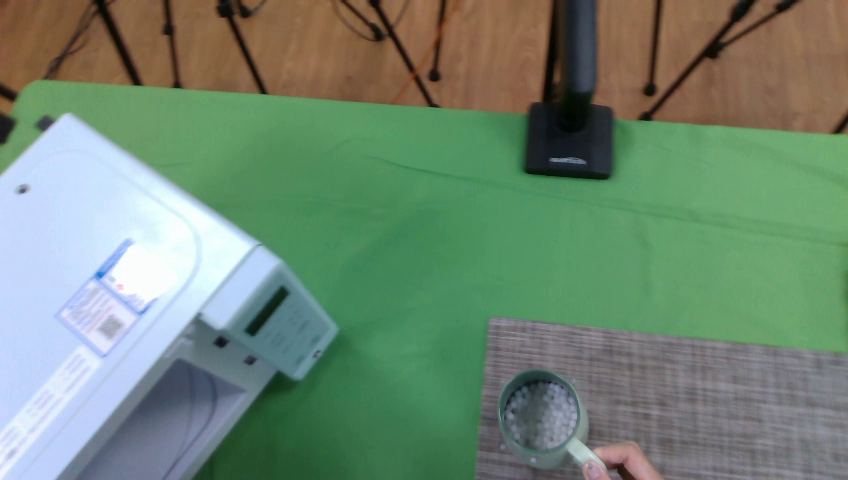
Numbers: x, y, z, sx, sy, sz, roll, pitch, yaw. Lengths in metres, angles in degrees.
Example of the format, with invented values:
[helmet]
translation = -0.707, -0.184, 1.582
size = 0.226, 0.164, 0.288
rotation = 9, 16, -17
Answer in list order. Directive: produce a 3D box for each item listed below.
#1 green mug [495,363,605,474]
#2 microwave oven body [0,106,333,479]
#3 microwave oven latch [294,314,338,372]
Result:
[green mug]
translation = 0.130, 0.185, 0.612
size = 0.124, 0.106, 0.092
rotation = 40, 81, 26
[microwave oven body]
translation = -0.370, 0.142, 0.642
size = 0.324, 0.262, 0.440
rotation = 32, 74, 16
[microwave oven latch]
translation = -0.138, 0.120, 0.736
size = 0.030, 0.030, 0.079
rotation = 34, 75, 17
